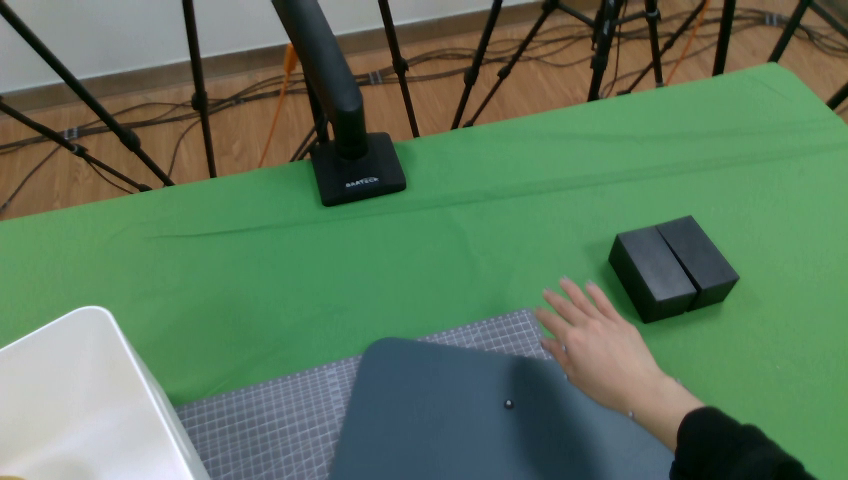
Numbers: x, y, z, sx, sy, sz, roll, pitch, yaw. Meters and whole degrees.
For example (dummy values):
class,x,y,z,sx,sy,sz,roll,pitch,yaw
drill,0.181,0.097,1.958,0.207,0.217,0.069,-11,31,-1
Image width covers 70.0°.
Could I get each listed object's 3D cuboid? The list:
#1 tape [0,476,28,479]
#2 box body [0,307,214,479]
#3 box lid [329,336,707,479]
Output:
class,x,y,z,sx,sy,sz,roll,pitch,yaw
tape,-0.381,0.274,0.541,0.117,0.053,0.115,0,52,1
box body,-0.358,0.264,0.487,0.364,0.162,0.251,-31,58,-21
box lid,0.095,0.234,0.600,0.371,0.015,0.261,7,54,6
